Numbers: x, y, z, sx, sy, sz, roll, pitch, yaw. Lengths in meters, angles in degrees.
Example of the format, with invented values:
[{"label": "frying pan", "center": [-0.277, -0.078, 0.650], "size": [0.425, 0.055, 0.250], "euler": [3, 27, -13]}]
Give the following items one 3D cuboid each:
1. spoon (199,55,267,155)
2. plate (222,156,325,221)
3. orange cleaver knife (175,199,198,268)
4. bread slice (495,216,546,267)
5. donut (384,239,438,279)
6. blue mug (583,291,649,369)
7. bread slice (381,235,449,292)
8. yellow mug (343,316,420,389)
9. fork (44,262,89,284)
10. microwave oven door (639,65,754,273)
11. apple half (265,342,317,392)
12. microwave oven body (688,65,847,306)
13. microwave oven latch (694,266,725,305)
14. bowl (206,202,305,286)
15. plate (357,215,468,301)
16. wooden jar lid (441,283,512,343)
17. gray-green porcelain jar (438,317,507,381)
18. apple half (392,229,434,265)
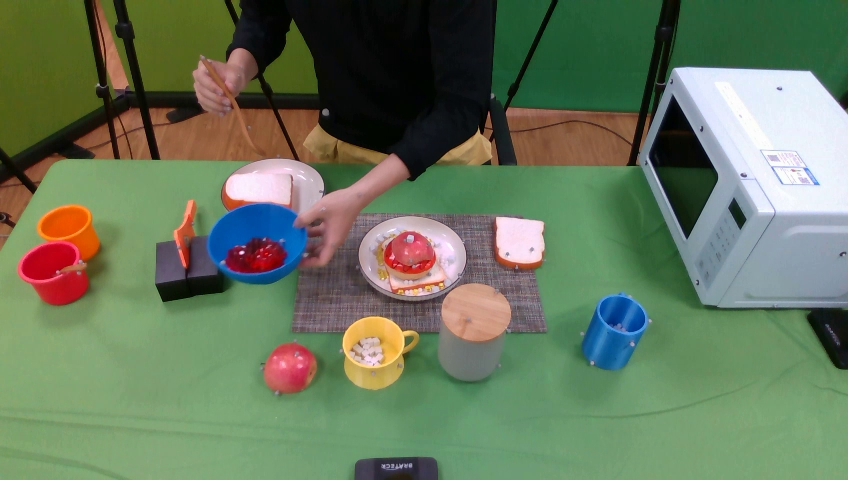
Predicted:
[{"label": "spoon", "center": [-0.313, -0.219, 1.001], "size": [0.021, 0.195, 0.041], "euler": [-26, 36, -6]}, {"label": "plate", "center": [-0.308, -0.095, 1.251], "size": [0.209, 0.038, 0.208], "euler": [3, 46, -3]}, {"label": "orange cleaver knife", "center": [-0.438, -0.017, 1.138], "size": [0.012, 0.077, 0.210], "euler": [-14, 27, -6]}, {"label": "bread slice", "center": [0.194, 0.002, 1.204], "size": [0.105, 0.019, 0.131], "euler": [5, 45, 2]}, {"label": "donut", "center": [-0.025, 0.029, 1.110], "size": [0.099, 0.048, 0.098], "euler": [3, 46, -2]}, {"label": "blue mug", "center": [0.324, 0.142, 1.023], "size": [0.082, 0.106, 0.116], "euler": [15, 47, 11]}, {"label": "bread slice", "center": [-0.027, 0.039, 1.140], "size": [0.107, 0.018, 0.133], "euler": [-12, 48, -16]}, {"label": "yellow mug", "center": [-0.067, 0.178, 0.990], "size": [0.131, 0.064, 0.099], "euler": [-16, 49, -19]}, {"label": "fork", "center": [-0.598, 0.054, 1.014], "size": [0.207, 0.019, 0.028], "euler": [-15, 28, 45]}, {"label": "microwave oven door", "center": [0.522, -0.147, 1.192], "size": [0.039, 0.245, 0.353], "euler": [0, 47, -3]}, {"label": "apple half", "center": [-0.214, 0.198, 0.970], "size": [0.074, 0.053, 0.080], "euler": [19, 48, 11]}, {"label": "microwave oven body", "center": [0.669, -0.111, 1.176], "size": [0.326, 0.261, 0.439], "euler": [0, 46, -3]}, {"label": "microwave oven latch", "center": [0.523, 0.082, 1.115], "size": [0.030, 0.029, 0.078], "euler": [3, 46, 0]}, {"label": "bowl", "center": [-0.261, 0.021, 0.965], "size": [0.151, 0.077, 0.150], "euler": [2, 50, -2]}, {"label": "plate", "center": [-0.022, 0.037, 1.141], "size": [0.208, 0.039, 0.206], "euler": [2, 46, -2]}, {"label": "wooden jar lid", "center": [0.080, 0.114, 0.931], "size": [0.108, 0.021, 0.107], "euler": [1, 49, -1]}, {"label": "gray-green porcelain jar", "center": [0.076, 0.158, 0.977], "size": [0.106, 0.127, 0.105], "euler": [2, 47, -2]}, {"label": "apple half", "center": [-0.021, 0.005, 1.083], "size": [0.081, 0.033, 0.081], "euler": [7, 48, -7]}]
